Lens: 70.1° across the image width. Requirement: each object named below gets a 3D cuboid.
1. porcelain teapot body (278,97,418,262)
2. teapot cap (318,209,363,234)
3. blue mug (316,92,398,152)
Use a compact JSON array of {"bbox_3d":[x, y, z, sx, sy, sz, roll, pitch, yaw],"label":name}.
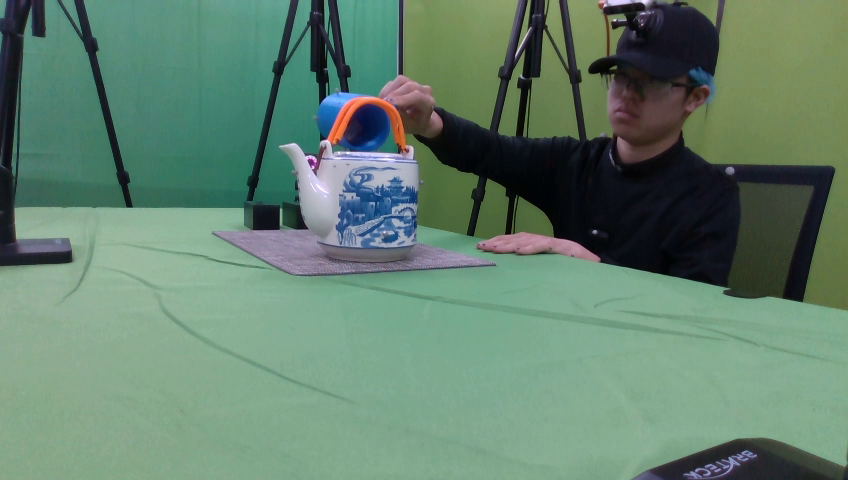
[{"bbox_3d":[-0.103,-0.086,0.842,0.206,0.225,0.144,-4,9,-38],"label":"porcelain teapot body"},{"bbox_3d":[-0.158,-0.036,1.144,0.085,0.044,0.085,0,6,0],"label":"teapot cap"},{"bbox_3d":[-0.096,-0.189,0.925,0.117,0.082,0.105,-29,25,-18],"label":"blue mug"}]
